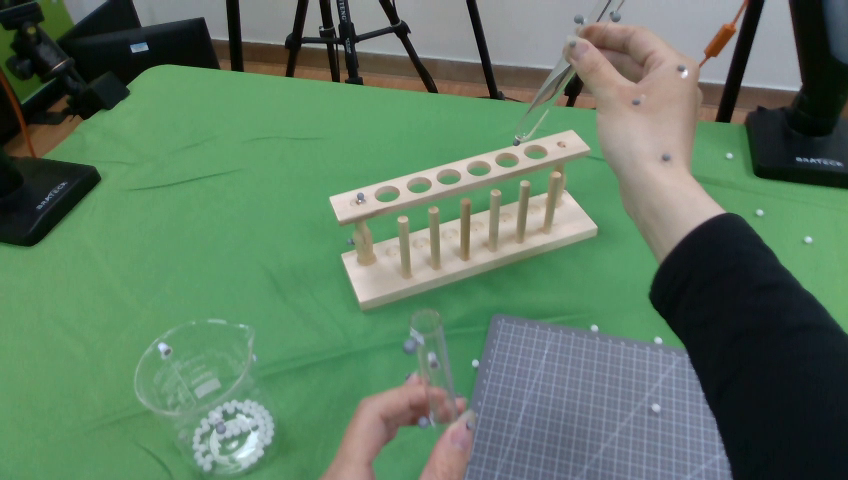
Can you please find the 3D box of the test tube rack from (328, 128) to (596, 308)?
[{"bbox_3d":[0.042,-0.023,0.562,0.243,0.086,0.066,-17,47,-13],"label":"test tube rack"}]

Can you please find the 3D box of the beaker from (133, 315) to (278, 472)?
[{"bbox_3d":[-0.146,0.111,0.431,0.073,0.101,0.084,32,54,30],"label":"beaker"}]

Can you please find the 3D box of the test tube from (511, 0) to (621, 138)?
[{"bbox_3d":[0.106,-0.133,0.460,0.017,0.151,0.017,14,50,-17],"label":"test tube"}]

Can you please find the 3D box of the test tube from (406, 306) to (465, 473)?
[{"bbox_3d":[0.009,0.087,0.325,0.017,0.152,0.017,-5,45,5],"label":"test tube"}]
